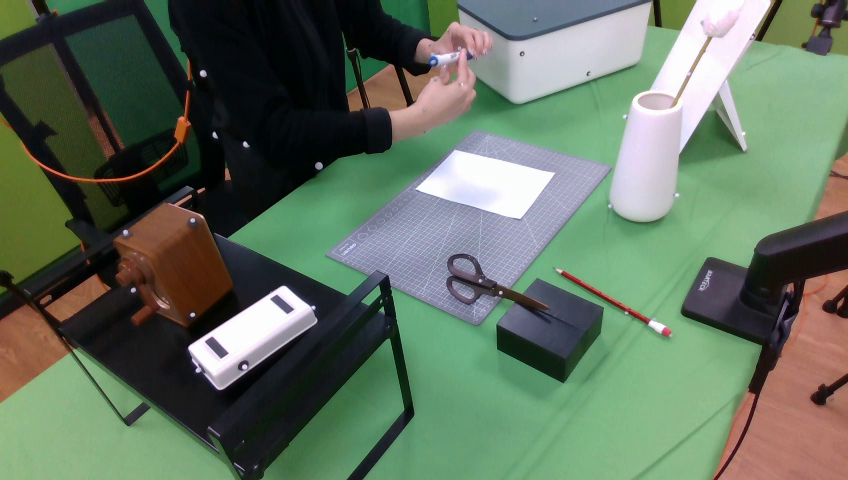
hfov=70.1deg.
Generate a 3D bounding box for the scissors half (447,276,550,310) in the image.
[{"bbox_3d":[0.098,0.077,0.827,0.174,0.040,0.013,6,14,44],"label":"scissors half"}]

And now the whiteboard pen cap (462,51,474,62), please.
[{"bbox_3d":[0.069,-0.307,1.009,0.018,0.018,0.033,12,24,21],"label":"whiteboard pen cap"}]

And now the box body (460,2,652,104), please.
[{"bbox_3d":[0.291,-0.465,1.371,0.365,0.161,0.252,-22,42,-16],"label":"box body"}]

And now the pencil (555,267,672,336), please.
[{"bbox_3d":[0.260,0.082,0.851,0.012,0.012,0.192,-33,45,-27],"label":"pencil"}]

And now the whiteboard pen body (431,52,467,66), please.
[{"bbox_3d":[0.046,-0.289,0.959,0.017,0.017,0.141,13,24,22],"label":"whiteboard pen body"}]

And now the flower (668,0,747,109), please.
[{"bbox_3d":[0.354,-0.187,0.879,0.038,0.362,0.044,31,48,15],"label":"flower"}]

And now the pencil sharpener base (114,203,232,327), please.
[{"bbox_3d":[-0.262,0.029,0.635,0.061,0.107,0.077,18,47,26],"label":"pencil sharpener base"}]

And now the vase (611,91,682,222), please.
[{"bbox_3d":[0.348,-0.125,0.935,0.098,0.201,0.097,-3,40,3],"label":"vase"}]

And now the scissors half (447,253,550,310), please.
[{"bbox_3d":[0.098,0.058,0.821,0.173,0.040,0.013,27,33,37],"label":"scissors half"}]

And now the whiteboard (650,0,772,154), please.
[{"bbox_3d":[0.543,-0.298,1.076,0.144,0.305,0.216,12,40,-7],"label":"whiteboard"}]

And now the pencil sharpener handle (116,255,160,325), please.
[{"bbox_3d":[-0.286,0.050,0.594,0.035,0.068,0.031,7,41,35],"label":"pencil sharpener handle"}]

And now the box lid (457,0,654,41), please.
[{"bbox_3d":[0.285,-0.522,1.323,0.373,0.015,0.261,-22,43,-16],"label":"box lid"}]

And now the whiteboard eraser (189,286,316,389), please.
[{"bbox_3d":[-0.166,0.096,0.593,0.113,0.042,0.055,-36,46,-29],"label":"whiteboard eraser"}]
